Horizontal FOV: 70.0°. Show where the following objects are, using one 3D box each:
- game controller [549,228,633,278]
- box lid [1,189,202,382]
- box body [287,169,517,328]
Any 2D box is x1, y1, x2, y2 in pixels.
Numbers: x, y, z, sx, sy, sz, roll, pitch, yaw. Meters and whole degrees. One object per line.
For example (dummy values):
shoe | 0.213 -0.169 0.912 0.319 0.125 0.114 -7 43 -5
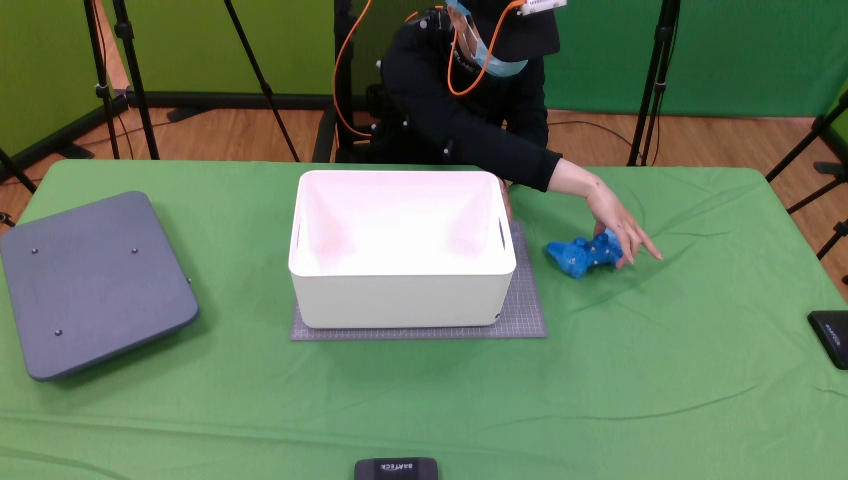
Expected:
game controller | 0.331 0.016 1.182 0.155 0.052 0.096 -12 52 -14
box lid | -0.565 0.059 1.050 0.263 0.015 0.369 -23 52 -23
box body | -0.040 0.015 1.075 0.364 0.161 0.252 -1 47 -4
